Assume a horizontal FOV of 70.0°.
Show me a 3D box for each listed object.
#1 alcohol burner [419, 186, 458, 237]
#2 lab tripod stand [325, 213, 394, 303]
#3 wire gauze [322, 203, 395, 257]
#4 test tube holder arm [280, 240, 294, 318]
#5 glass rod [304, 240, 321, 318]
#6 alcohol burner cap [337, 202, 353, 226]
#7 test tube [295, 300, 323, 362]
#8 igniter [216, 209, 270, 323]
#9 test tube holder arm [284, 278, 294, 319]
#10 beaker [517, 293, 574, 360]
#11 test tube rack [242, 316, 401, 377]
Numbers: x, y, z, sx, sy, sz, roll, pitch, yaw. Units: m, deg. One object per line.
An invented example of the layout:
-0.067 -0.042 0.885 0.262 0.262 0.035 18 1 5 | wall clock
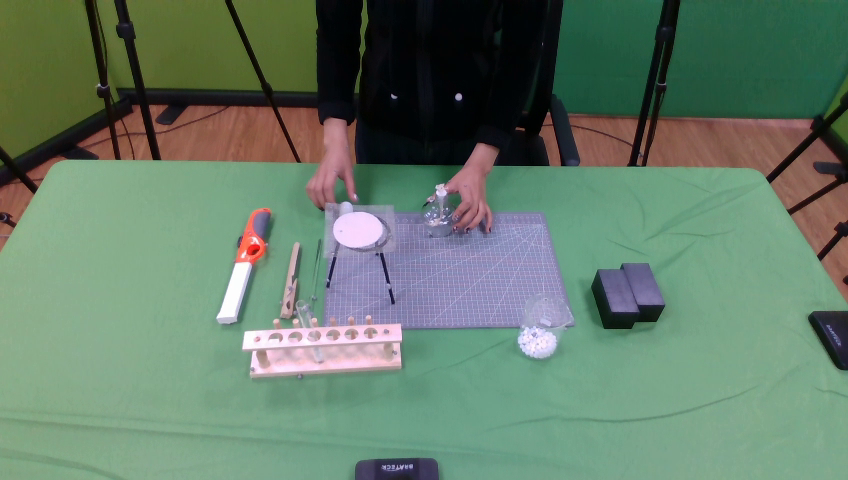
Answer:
0.030 -0.063 1.196 0.078 0.119 0.077 3 48 -3 | alcohol burner
-0.104 0.031 1.080 0.148 0.132 0.147 4 45 -4 | lab tripod stand
-0.111 -0.020 1.035 0.121 0.011 0.124 0 47 -7 | wire gauze
-0.251 0.068 1.113 0.013 0.015 0.177 29 37 -34 | test tube holder arm
-0.207 0.068 1.128 0.008 0.008 0.198 2 43 -2 | glass rod
-0.160 -0.056 1.223 0.034 0.048 0.033 2 46 -2 | alcohol burner cap
-0.176 0.143 0.935 0.017 0.151 0.017 -2 46 2 | test tube
-0.335 0.039 1.132 0.057 0.025 0.275 -3 46 6 | igniter
-0.243 0.103 1.085 0.010 0.015 0.087 31 36 -32 | test tube holder arm
0.200 0.149 1.018 0.084 0.101 0.073 14 47 8 | beaker
-0.161 0.166 0.983 0.242 0.085 0.066 -2 46 -6 | test tube rack
